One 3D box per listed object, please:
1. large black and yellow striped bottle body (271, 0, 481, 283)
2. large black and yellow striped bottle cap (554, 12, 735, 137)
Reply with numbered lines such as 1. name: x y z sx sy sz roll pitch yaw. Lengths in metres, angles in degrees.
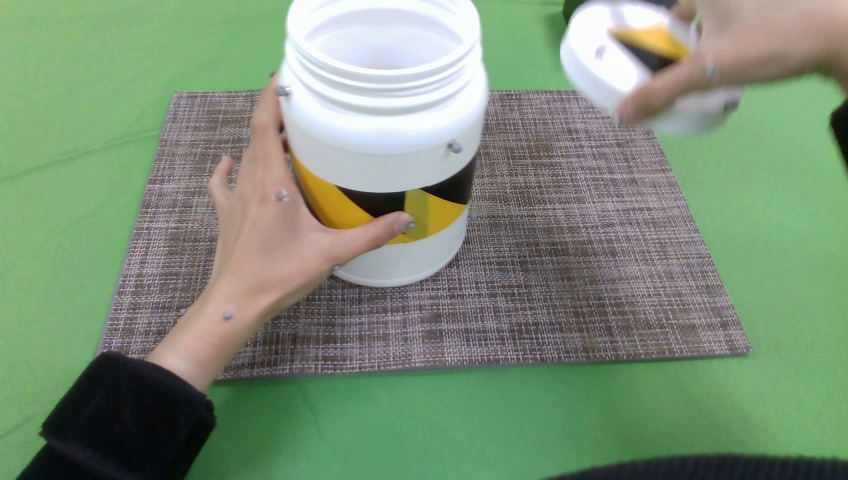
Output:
1. large black and yellow striped bottle body: -0.031 -0.072 0.412 0.131 0.185 0.129 2 52 -2
2. large black and yellow striped bottle cap: 0.141 -0.109 0.388 0.115 0.019 0.114 8 48 -8
